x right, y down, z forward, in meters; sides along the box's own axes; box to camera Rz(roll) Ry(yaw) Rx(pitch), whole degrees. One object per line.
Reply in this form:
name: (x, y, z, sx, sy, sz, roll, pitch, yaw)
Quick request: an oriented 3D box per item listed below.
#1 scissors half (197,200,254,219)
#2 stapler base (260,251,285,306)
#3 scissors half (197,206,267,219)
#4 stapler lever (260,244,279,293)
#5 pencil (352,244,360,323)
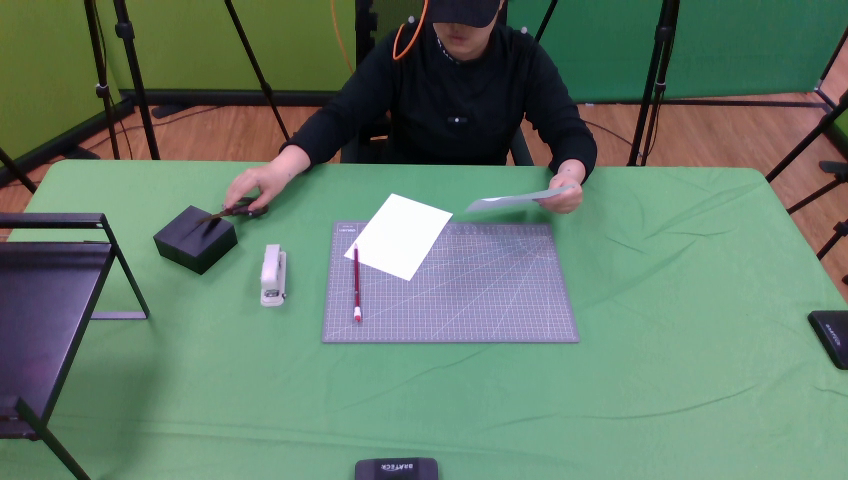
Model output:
scissors half: (-0.388, -0.058, 1.182, 0.040, 0.013, 0.175, 19, 17, 9)
stapler base: (-0.279, 0.064, 1.113, 0.041, 0.024, 0.129, -1, 44, -9)
scissors half: (-0.370, -0.050, 1.176, 0.040, 0.013, 0.175, 30, 20, 25)
stapler lever: (-0.279, 0.045, 1.096, 0.027, 0.040, 0.117, -2, 44, -9)
pencil: (-0.127, 0.075, 1.120, 0.012, 0.012, 0.192, -3, 44, -7)
